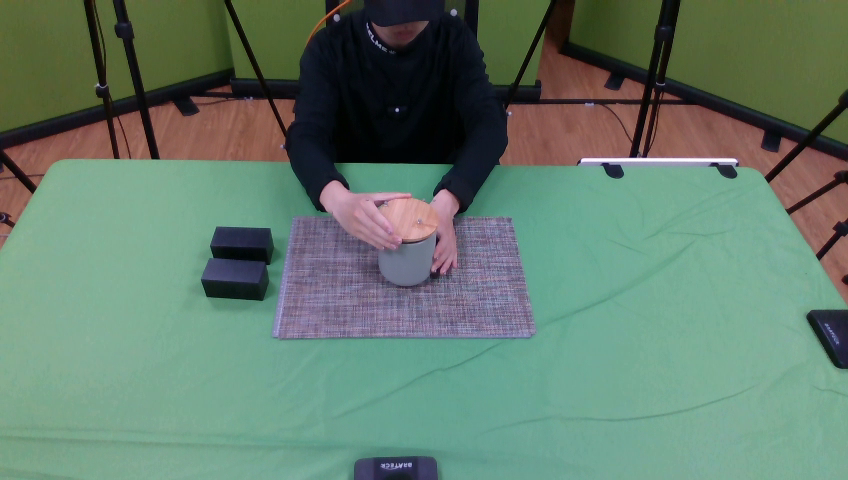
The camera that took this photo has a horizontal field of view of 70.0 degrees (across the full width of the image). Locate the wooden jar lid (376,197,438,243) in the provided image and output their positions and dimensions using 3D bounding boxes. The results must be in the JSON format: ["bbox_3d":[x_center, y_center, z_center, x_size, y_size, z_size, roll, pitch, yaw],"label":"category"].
[{"bbox_3d":[-0.029,-0.033,1.056,0.108,0.021,0.107,4,43,-3],"label":"wooden jar lid"}]

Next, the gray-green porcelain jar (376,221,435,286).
[{"bbox_3d":[-0.034,0.014,1.105,0.106,0.127,0.105,2,46,-1],"label":"gray-green porcelain jar"}]
